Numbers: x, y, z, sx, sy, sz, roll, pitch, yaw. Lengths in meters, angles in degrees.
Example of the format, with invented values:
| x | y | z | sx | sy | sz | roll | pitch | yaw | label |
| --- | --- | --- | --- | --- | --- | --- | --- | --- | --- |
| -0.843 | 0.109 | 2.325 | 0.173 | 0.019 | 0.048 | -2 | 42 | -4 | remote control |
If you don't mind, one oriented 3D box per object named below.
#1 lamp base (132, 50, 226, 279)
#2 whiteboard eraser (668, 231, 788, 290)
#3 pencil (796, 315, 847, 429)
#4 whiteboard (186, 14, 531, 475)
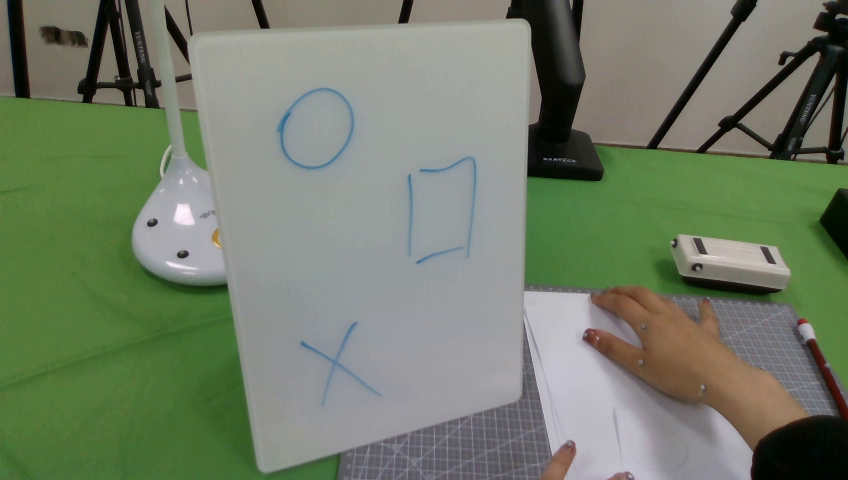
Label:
| x | y | z | sx | sy | sz | roll | pitch | yaw | label |
| --- | --- | --- | --- | --- | --- | --- | --- | --- | --- |
| -0.220 | -0.080 | 0.592 | 0.177 | 0.182 | 0.160 | 31 | 44 | 30 | lamp base |
| 0.328 | 0.023 | 0.659 | 0.112 | 0.042 | 0.055 | 8 | 39 | 2 | whiteboard eraser |
| 0.369 | 0.139 | 0.541 | 0.012 | 0.012 | 0.192 | 8 | 41 | 2 | pencil |
| -0.047 | -0.011 | 0.478 | 0.218 | 0.307 | 0.142 | -10 | 22 | -18 | whiteboard |
